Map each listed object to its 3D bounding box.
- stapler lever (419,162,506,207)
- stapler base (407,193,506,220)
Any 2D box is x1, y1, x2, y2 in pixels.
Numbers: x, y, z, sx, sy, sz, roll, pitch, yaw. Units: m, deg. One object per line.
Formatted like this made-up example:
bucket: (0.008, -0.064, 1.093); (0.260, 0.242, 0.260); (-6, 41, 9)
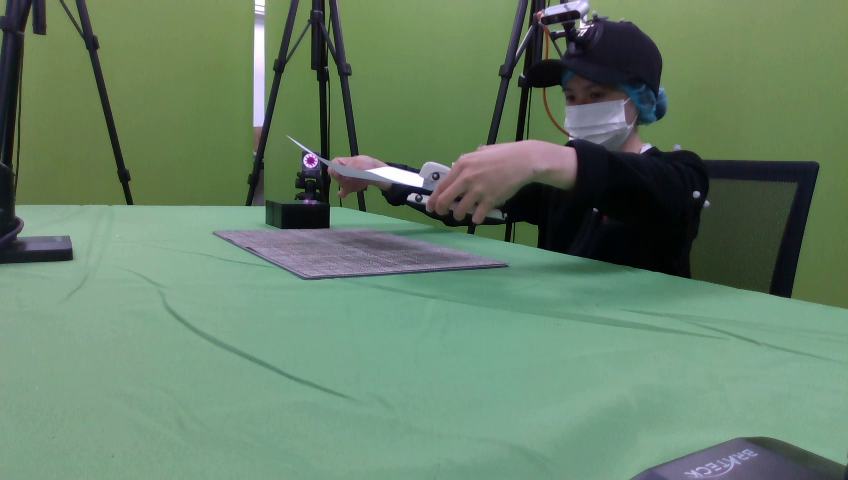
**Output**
stapler lever: (0.051, -0.073, 0.787); (0.118, 0.040, 0.027); (12, 2, 14)
stapler base: (0.044, -0.050, 0.787); (0.130, 0.024, 0.041); (13, 2, 14)
